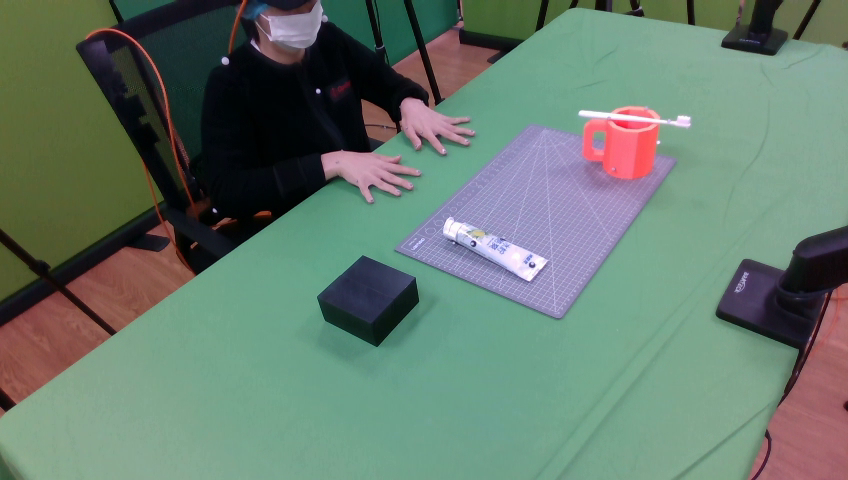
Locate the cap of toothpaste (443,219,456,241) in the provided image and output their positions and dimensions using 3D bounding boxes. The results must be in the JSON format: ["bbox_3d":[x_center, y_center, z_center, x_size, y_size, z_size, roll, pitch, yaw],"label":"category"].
[{"bbox_3d":[0.044,-0.017,0.972,0.011,0.037,0.037,16,45,26],"label":"cap of toothpaste"}]

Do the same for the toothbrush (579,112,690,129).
[{"bbox_3d":[0.352,-0.205,1.019,0.181,0.017,0.014,10,47,21],"label":"toothbrush"}]

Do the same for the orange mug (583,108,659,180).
[{"bbox_3d":[0.343,-0.171,1.061,0.126,0.101,0.083,10,43,15],"label":"orange mug"}]

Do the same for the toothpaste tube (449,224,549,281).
[{"bbox_3d":[0.107,0.015,0.934,0.164,0.035,0.055,25,55,28],"label":"toothpaste tube"}]
